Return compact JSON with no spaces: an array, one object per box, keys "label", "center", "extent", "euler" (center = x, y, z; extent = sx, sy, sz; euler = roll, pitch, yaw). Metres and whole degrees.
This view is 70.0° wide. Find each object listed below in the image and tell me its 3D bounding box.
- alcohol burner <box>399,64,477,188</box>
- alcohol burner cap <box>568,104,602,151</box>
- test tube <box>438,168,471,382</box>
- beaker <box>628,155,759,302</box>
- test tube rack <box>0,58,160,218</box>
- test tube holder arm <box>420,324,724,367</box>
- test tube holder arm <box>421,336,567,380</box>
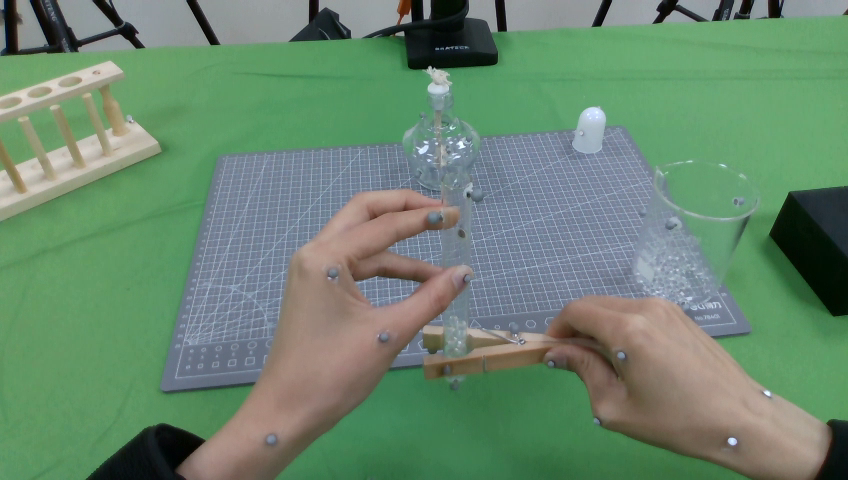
[{"label":"alcohol burner","center":[0.013,-0.111,0.583],"extent":[0.078,0.120,0.077],"euler":[-2,42,2]},{"label":"alcohol burner cap","center":[0.173,-0.122,0.645],"extent":[0.034,0.048,0.033],"euler":[0,43,1]},{"label":"test tube","center":[0.016,0.027,0.334],"extent":[0.017,0.151,0.017],"euler":[-1,39,1]},{"label":"beaker","center":[0.204,-0.007,0.480],"extent":[0.074,0.101,0.083],"euler":[-26,48,-24]},{"label":"test tube rack","center":[-0.399,-0.088,0.590],"extent":[0.242,0.086,0.066],"euler":[-33,52,-29]},{"label":"test tube holder arm","center":[0.086,0.063,0.365],"extent":[0.178,0.015,0.013],"euler":[2,44,5]},{"label":"test tube holder arm","center":[0.042,0.068,0.362],"extent":[0.088,0.015,0.010],"euler":[-10,43,-8]}]
